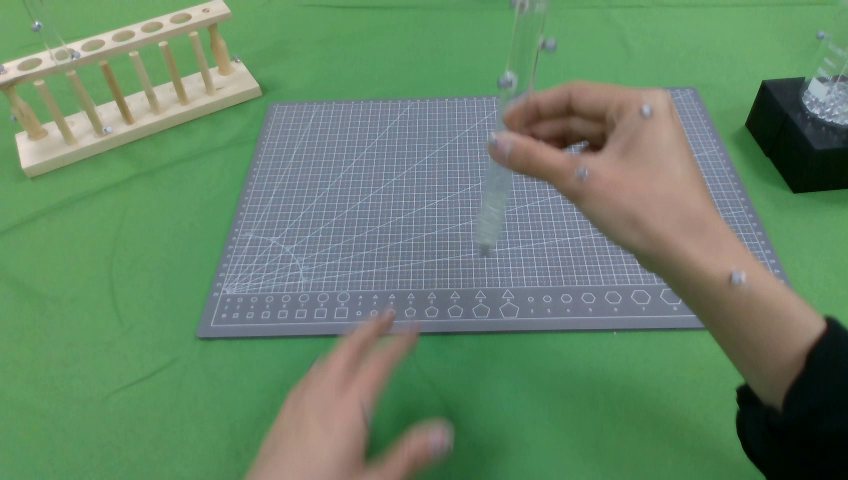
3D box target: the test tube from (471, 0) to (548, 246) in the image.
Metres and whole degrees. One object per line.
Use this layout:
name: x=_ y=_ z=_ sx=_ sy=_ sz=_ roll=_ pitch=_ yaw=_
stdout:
test tube: x=0.043 y=-0.056 z=0.327 sx=0.017 sy=0.151 sz=0.017 roll=5 pitch=39 yaw=-3

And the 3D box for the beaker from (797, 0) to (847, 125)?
beaker: x=0.354 y=-0.152 z=0.489 sx=0.074 sy=0.101 sz=0.083 roll=-22 pitch=50 yaw=-15

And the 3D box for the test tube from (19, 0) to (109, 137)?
test tube: x=-0.331 y=-0.159 z=0.559 sx=0.017 sy=0.152 sz=0.017 roll=-2 pitch=46 yaw=3

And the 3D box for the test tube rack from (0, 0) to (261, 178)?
test tube rack: x=-0.301 y=-0.158 z=0.616 sx=0.242 sy=0.086 sz=0.066 roll=-25 pitch=51 yaw=-18
